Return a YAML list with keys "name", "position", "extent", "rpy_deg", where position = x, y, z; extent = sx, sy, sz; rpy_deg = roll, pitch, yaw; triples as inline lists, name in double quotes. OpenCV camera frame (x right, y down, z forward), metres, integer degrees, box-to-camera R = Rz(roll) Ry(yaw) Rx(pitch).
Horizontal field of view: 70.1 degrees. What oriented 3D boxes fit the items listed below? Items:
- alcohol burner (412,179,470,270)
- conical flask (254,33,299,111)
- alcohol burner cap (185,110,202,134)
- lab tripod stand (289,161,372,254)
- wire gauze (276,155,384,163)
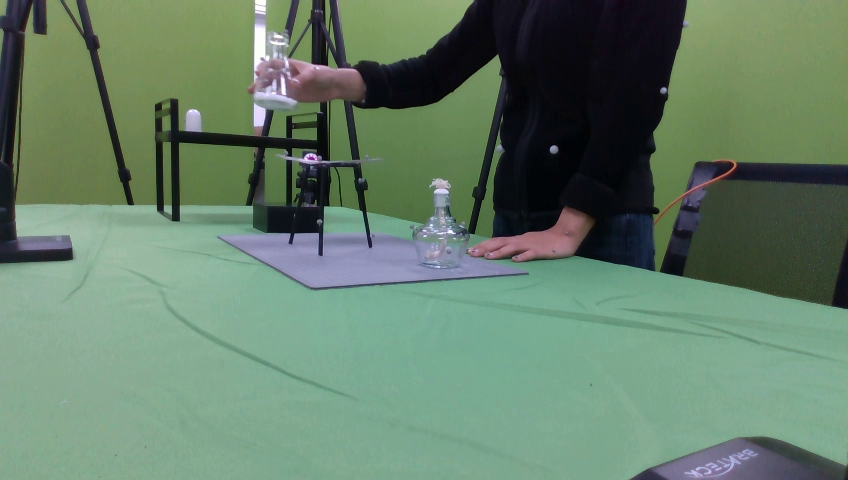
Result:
- name: "alcohol burner"
  position: [0.023, -0.021, 0.805]
  extent: [0.078, 0.119, 0.078]
  rpy_deg: [0, 8, 0]
- name: "conical flask"
  position: [-0.247, -0.285, 1.024]
  extent: [0.075, 0.121, 0.075]
  rpy_deg: [2, -2, 0]
- name: "alcohol burner cap"
  position: [-0.470, -0.242, 1.234]
  extent: [0.034, 0.048, 0.034]
  rpy_deg: [4, 7, 0]
- name: "lab tripod stand"
  position: [-0.147, -0.052, 0.909]
  extent: [0.148, 0.131, 0.148]
  rpy_deg: [0, 8, 0]
- name: "wire gauze"
  position: [-0.142, -0.118, 0.900]
  extent: [0.122, 0.011, 0.124]
  rpy_deg: [-3, 8, -37]
